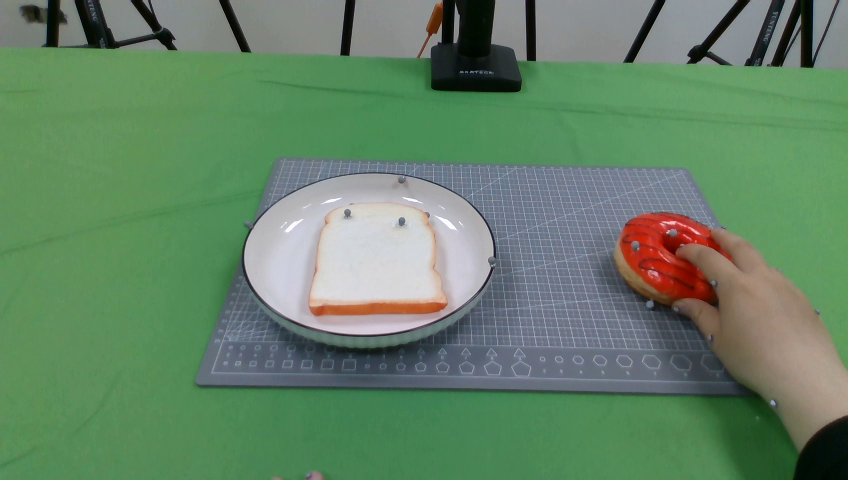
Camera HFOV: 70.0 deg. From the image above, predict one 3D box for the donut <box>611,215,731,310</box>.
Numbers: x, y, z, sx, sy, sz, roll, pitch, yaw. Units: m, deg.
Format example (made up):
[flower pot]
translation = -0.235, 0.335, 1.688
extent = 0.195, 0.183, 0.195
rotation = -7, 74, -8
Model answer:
[donut]
translation = 0.211, 0.019, 0.518
extent = 0.099, 0.048, 0.098
rotation = 4, 44, -3

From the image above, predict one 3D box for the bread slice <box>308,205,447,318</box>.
[bread slice]
translation = -0.043, 0.015, 0.518
extent = 0.107, 0.018, 0.133
rotation = -2, 41, -7

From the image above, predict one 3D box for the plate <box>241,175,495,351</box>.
[plate]
translation = -0.045, 0.017, 0.513
extent = 0.209, 0.038, 0.207
rotation = 2, 40, -1
